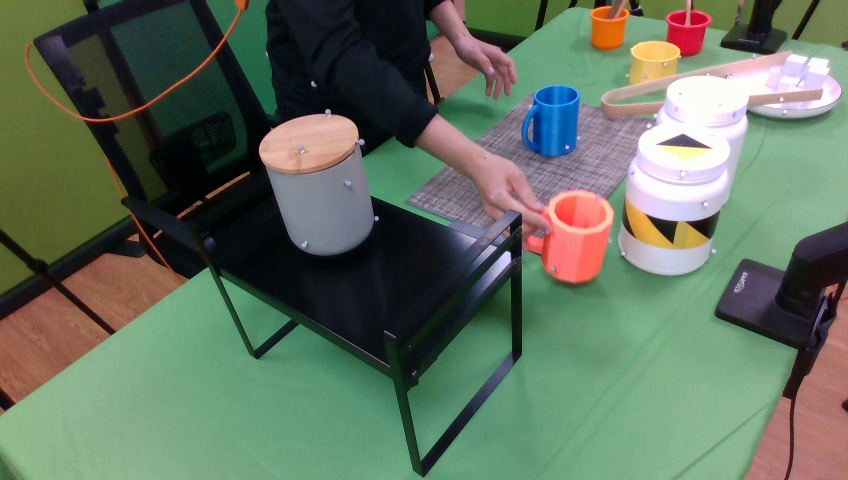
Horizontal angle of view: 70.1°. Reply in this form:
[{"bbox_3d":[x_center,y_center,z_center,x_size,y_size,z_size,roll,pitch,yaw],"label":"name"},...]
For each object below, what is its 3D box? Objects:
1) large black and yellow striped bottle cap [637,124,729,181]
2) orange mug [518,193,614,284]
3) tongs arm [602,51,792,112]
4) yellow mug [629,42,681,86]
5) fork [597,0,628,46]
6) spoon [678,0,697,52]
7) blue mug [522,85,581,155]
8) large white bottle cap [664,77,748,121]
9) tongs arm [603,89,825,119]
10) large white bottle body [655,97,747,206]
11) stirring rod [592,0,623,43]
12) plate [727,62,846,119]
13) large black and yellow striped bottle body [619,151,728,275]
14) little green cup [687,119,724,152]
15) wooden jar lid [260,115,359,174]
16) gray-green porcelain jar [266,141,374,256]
[{"bbox_3d":[0.346,-0.119,0.810,0.115,0.019,0.114,-5,41,5],"label":"large black and yellow striped bottle cap"},{"bbox_3d":[0.195,-0.006,0.846,0.126,0.101,0.083,15,47,11],"label":"orange mug"},{"bbox_3d":[0.552,-0.319,1.223,0.384,0.027,0.050,-10,43,7],"label":"tongs arm"},{"bbox_3d":[0.495,-0.389,1.321,0.100,0.064,0.130,-14,40,-7],"label":"yellow mug"},{"bbox_3d":[0.479,-0.558,1.455,0.028,0.019,0.207,35,100,38],"label":"fork"},{"bbox_3d":[0.614,-0.526,1.402,0.041,0.022,0.193,3,86,11],"label":"spoon"},{"bbox_3d":[0.233,-0.218,1.127,0.117,0.106,0.081,-23,43,-16],"label":"blue mug"},{"bbox_3d":[0.421,-0.212,0.905,0.115,0.018,0.114,-4,40,4],"label":"large white bottle cap"},{"bbox_3d":[0.546,-0.262,1.162,0.386,0.028,0.028,-1,49,18],"label":"tongs arm"},{"bbox_3d":[0.430,-0.148,0.959,0.130,0.185,0.130,-4,41,4],"label":"large white bottle body"},{"bbox_3d":[0.460,-0.557,1.461,0.014,0.176,0.006,35,11,23],"label":"stirring rod"},{"bbox_3d":[0.709,-0.292,1.197,0.207,0.039,0.206,-4,40,4],"label":"plate"},{"bbox_3d":[0.354,-0.056,0.865,0.131,0.185,0.130,-4,41,4],"label":"large black and yellow striped bottle body"},{"bbox_3d":[0.514,-0.191,1.109,0.061,0.039,0.061,-5,40,5],"label":"little green cup"},{"bbox_3d":[-0.124,-0.101,0.662,0.108,0.021,0.108,-4,41,4],"label":"wooden jar lid"},{"bbox_3d":[-0.117,-0.054,0.703,0.106,0.127,0.105,-4,40,4],"label":"gray-green porcelain jar"}]
